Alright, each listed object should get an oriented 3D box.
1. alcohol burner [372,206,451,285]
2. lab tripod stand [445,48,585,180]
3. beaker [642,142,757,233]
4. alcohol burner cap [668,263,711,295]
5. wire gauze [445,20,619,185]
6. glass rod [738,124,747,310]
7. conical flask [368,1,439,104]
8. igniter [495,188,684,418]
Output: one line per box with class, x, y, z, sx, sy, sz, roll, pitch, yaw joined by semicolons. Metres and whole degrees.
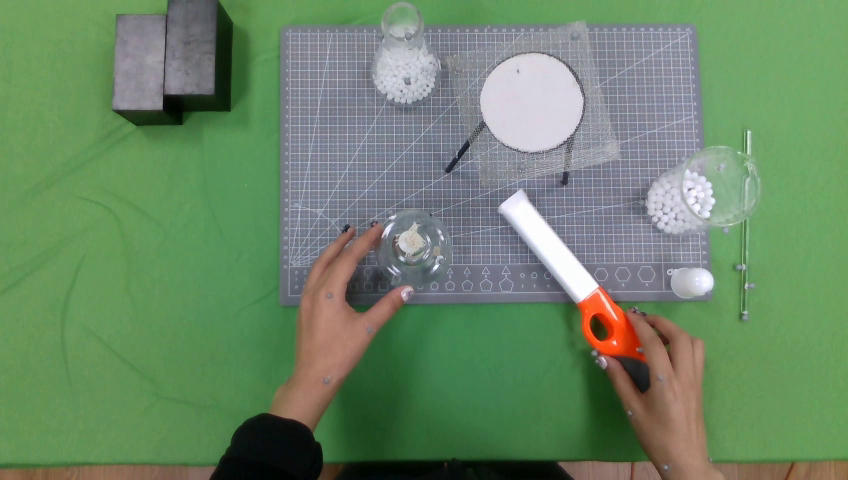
alcohol burner;-0.013;0.003;0.578;0.078;0.119;0.077;0;83;2
lab tripod stand;0.089;-0.111;0.580;0.148;0.131;0.148;0;86;0
beaker;0.266;-0.048;0.594;0.084;0.100;0.074;-38;86;-5
alcohol burner cap;0.272;0.038;0.614;0.034;0.048;0.034;0;84;-1
wire gauze;0.091;-0.116;0.513;0.125;0.011;0.121;-13;85;-1
glass rod;0.338;-0.026;0.642;0.008;0.008;0.199;3;85;-1
conical flask;-0.021;-0.187;0.591;0.075;0.122;0.075;0;84;0
igniter;0.170;0.063;0.618;0.057;0.025;0.276;-38;86;-14
